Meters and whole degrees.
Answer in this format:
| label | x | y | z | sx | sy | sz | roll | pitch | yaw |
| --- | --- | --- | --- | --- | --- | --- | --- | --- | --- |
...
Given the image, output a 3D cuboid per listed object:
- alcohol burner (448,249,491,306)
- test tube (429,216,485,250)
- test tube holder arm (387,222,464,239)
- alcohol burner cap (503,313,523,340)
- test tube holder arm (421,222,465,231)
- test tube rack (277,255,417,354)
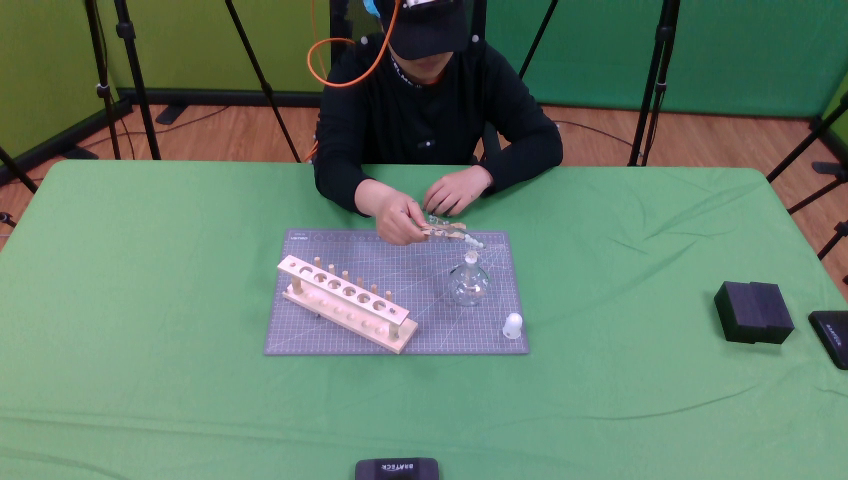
| label | x | y | z | sx | sy | sz | roll | pitch | yaw |
| --- | --- | --- | --- | --- | --- | --- | --- | --- | --- |
| alcohol burner | 0.081 | 0.062 | 1.078 | 0.078 | 0.120 | 0.077 | 1 | 45 | -1 |
| test tube | 0.057 | -0.009 | 0.974 | 0.017 | 0.151 | 0.017 | -13 | 67 | 33 |
| test tube holder arm | -0.002 | -0.017 | 1.007 | 0.015 | 0.013 | 0.177 | 15 | -4 | -43 |
| alcohol burner cap | 0.156 | 0.148 | 1.051 | 0.034 | 0.048 | 0.033 | 1 | 45 | -1 |
| test tube holder arm | 0.030 | -0.020 | 0.975 | 0.087 | 0.015 | 0.010 | -4 | 77 | 45 |
| test tube rack | -0.131 | 0.099 | 1.045 | 0.241 | 0.085 | 0.066 | 23 | 49 | 17 |
